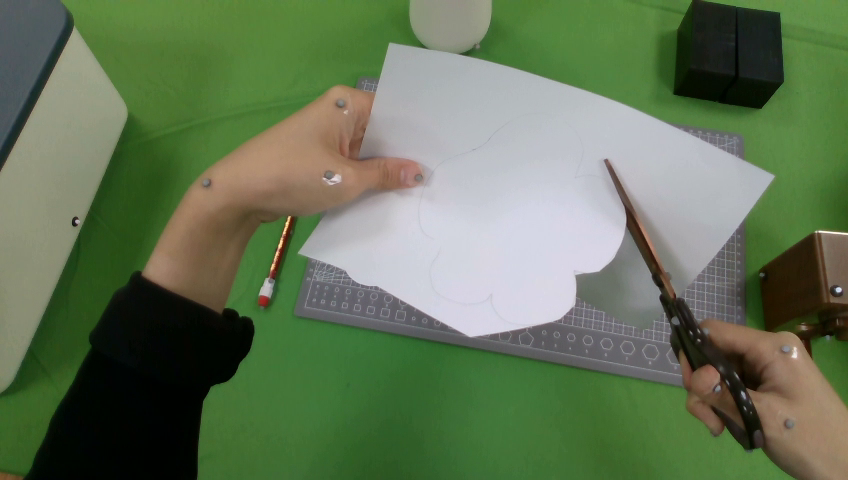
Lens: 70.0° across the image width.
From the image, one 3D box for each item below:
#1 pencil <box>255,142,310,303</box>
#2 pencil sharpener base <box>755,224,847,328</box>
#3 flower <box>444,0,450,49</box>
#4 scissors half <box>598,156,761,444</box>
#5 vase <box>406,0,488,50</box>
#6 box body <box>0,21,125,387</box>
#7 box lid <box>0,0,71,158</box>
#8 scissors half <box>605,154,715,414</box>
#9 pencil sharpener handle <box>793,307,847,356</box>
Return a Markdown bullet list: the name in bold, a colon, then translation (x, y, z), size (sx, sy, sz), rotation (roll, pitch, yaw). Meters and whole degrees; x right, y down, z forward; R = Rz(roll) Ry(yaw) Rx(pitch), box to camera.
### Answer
- **pencil**: translation (-0.148, -0.024, 0.650), size (0.012, 0.012, 0.193), rotation (10, 67, 4)
- **pencil sharpener base**: translation (0.370, 0.041, 0.573), size (0.061, 0.108, 0.076), rotation (5, 69, 2)
- **flower**: translation (0.021, -0.347, 0.586), size (0.044, 0.365, 0.038), rotation (3, 50, 5)
- **scissors half**: translation (0.138, 0.030, 0.332), size (0.013, 0.040, 0.174), rotation (-26, 82, 1)
- **vase**: translation (0.026, -0.303, 0.658), size (0.098, 0.201, 0.097), rotation (0, 67, 1)
- **box body**: translation (-0.483, -0.052, 0.577), size (0.254, 0.161, 0.361), rotation (9, 69, 4)
- **box lid**: translation (-0.483, -0.083, 0.508), size (0.263, 0.015, 0.369), rotation (10, 68, 3)
- **scissors half**: translation (0.139, 0.028, 0.354), size (0.013, 0.040, 0.176), rotation (-26, 107, 6)
- **pencil sharpener handle**: translation (0.361, 0.083, 0.543), size (0.036, 0.068, 0.030), rotation (10, 68, -11)
